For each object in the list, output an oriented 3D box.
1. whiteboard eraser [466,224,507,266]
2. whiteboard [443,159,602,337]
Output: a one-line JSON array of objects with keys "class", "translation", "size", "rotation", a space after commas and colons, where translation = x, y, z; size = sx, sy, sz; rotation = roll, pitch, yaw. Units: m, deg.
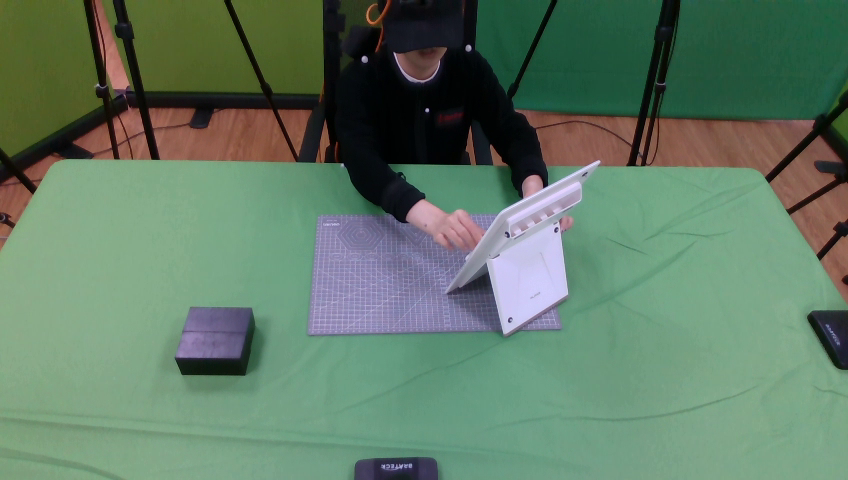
[{"class": "whiteboard eraser", "translation": [0.106, 0.008, 1.034], "size": [0.041, 0.101, 0.019], "rotation": [-23, 69, -45]}, {"class": "whiteboard", "translation": [0.193, 0.037, 1.017], "size": [0.217, 0.306, 0.143], "rotation": [-26, 72, -26]}]
